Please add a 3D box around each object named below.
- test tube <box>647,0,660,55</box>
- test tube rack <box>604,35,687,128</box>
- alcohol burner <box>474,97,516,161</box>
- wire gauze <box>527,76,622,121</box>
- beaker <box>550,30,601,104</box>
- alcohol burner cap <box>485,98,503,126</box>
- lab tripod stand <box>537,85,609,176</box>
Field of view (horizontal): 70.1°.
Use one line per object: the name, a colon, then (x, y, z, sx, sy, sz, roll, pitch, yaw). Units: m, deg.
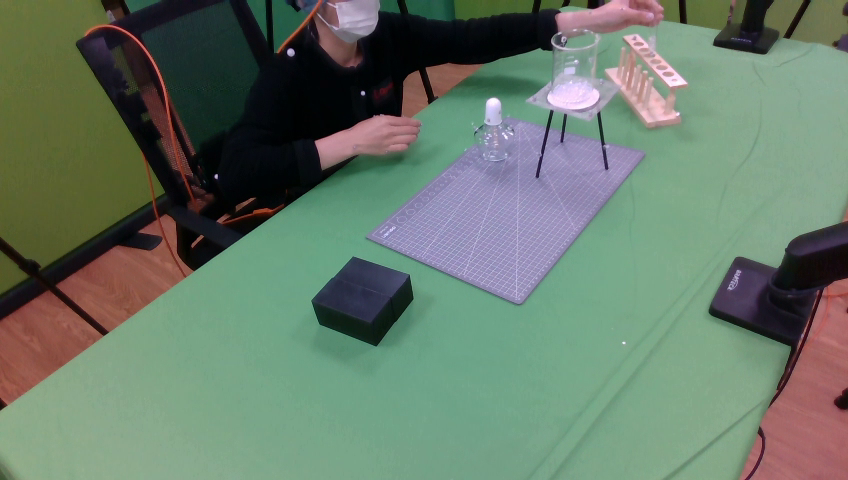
test tube: (0.450, -0.436, 1.181, 0.017, 0.151, 0.017, -6, 37, 5)
test tube rack: (0.447, -0.330, 1.241, 0.067, 0.085, 0.241, -9, 41, -2)
alcohol burner: (0.130, -0.208, 1.121, 0.078, 0.119, 0.077, -6, 40, 5)
wire gauze: (0.255, -0.247, 1.030, 0.124, 0.011, 0.122, 23, 49, 34)
beaker: (0.249, -0.285, 1.001, 0.084, 0.101, 0.073, -13, 43, -5)
alcohol burner cap: (0.126, -0.234, 1.097, 0.034, 0.048, 0.033, -3, 39, 3)
lab tripod stand: (0.259, -0.192, 1.068, 0.148, 0.132, 0.147, -4, 42, 4)
